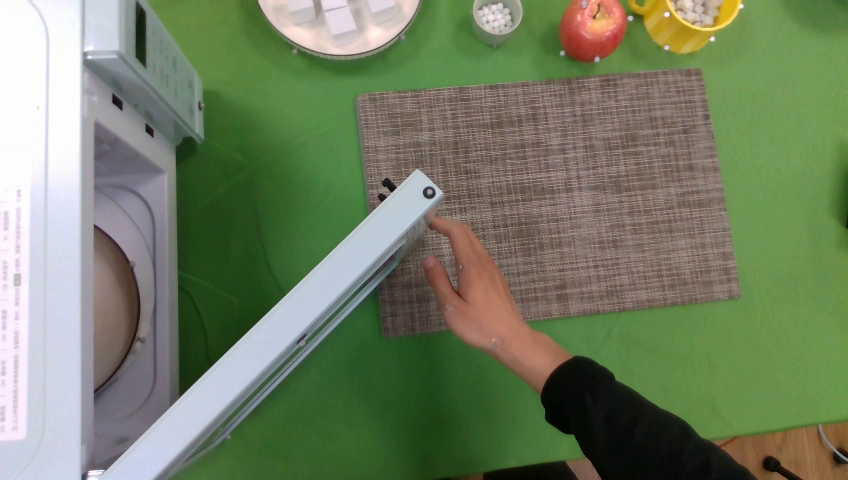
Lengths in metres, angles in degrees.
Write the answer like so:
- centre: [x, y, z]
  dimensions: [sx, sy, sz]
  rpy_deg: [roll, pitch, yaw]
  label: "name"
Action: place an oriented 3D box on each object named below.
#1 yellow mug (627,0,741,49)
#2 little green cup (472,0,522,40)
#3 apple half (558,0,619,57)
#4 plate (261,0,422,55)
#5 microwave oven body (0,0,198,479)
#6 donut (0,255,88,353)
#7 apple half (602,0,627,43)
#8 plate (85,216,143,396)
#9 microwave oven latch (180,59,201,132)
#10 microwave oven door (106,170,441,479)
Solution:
- centre: [0.323, -0.306, 0.768]
  dimensions: [0.131, 0.064, 0.099]
  rpy_deg: [5, 82, -3]
  label: "yellow mug"
- centre: [0.089, -0.284, 0.761]
  dimensions: [0.061, 0.038, 0.061]
  rpy_deg: [1, 83, -4]
  label: "little green cup"
- centre: [0.195, -0.262, 0.750]
  dimensions: [0.053, 0.074, 0.081]
  rpy_deg: [-32, 90, -3]
  label: "apple half"
- centre: [-0.101, -0.325, 0.750]
  dimensions: [0.208, 0.039, 0.207]
  rpy_deg: [1, 83, -5]
  label: "plate"
- centre: [-0.402, 0.004, 0.571]
  dimensions: [0.326, 0.260, 0.440]
  rpy_deg: [-3, 84, -5]
  label: "microwave oven body"
- centre: [-0.389, 0.063, 0.605]
  dimensions: [0.099, 0.048, 0.099]
  rpy_deg: [1, 84, -6]
  label: "donut"
- centre: [0.228, -0.283, 0.754]
  dimensions: [0.033, 0.081, 0.081]
  rpy_deg: [-33, 86, -3]
  label: "apple half"
- centre: [-0.391, 0.068, 0.616]
  dimensions: [0.209, 0.038, 0.208]
  rpy_deg: [1, 84, -5]
  label: "plate"
- centre: [-0.273, -0.166, 0.698]
  dimensions: [0.030, 0.029, 0.079]
  rpy_deg: [-1, 84, -5]
  label: "microwave oven latch"
- centre: [-0.126, 0.087, 0.578]
  dimensions: [0.039, 0.244, 0.355]
  rpy_deg: [44, 82, 3]
  label: "microwave oven door"
